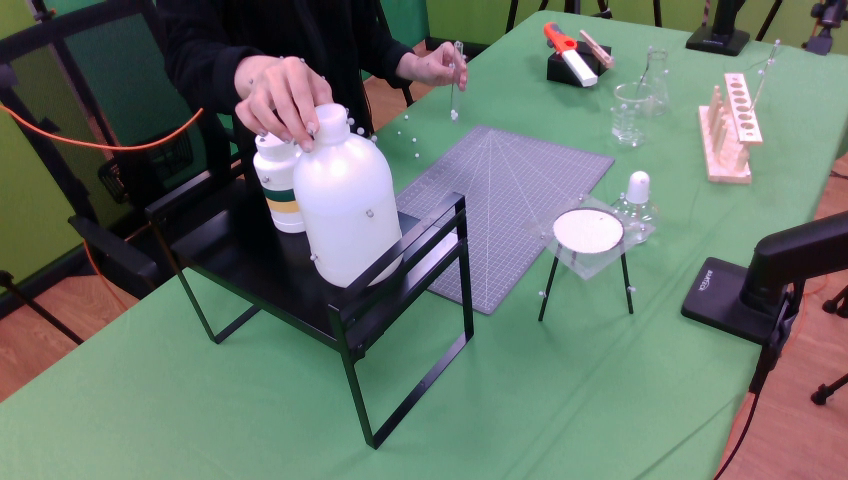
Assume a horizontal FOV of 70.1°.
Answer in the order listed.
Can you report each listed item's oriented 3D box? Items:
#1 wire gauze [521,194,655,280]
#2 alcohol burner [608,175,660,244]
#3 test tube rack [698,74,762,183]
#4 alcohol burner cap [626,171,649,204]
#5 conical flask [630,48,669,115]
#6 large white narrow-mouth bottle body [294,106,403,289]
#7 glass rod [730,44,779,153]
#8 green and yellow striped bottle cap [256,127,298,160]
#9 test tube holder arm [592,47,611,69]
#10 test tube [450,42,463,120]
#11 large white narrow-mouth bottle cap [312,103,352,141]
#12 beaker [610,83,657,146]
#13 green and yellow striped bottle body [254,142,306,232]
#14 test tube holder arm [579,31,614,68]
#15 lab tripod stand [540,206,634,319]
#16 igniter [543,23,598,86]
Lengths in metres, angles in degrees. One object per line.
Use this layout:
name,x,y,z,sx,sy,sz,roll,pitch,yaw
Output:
wire gauze,0.207,-0.012,0.772,0.122,0.011,0.124,-28,44,-20
alcohol burner,0.322,-0.053,0.924,0.078,0.119,0.077,-4,43,4
test tube rack,0.547,-0.208,1.095,0.066,0.085,0.242,5,42,15
alcohol burner cap,0.320,-0.081,0.900,0.034,0.048,0.033,-4,42,4
conical flask,0.456,-0.317,1.205,0.075,0.122,0.075,-4,41,4
large white narrow-mouth bottle body,-0.082,-0.047,0.633,0.102,0.195,0.101,-4,40,4
glass rod,0.555,-0.234,1.020,0.008,0.200,0.008,2,40,-1
green and yellow striped bottle cap,-0.170,-0.112,0.698,0.045,0.020,0.045,-5,40,5
test tube holder arm,0.386,-0.398,1.317,0.010,0.015,0.087,-10,41,-2
test tube,0.057,-0.277,1.065,0.017,0.151,0.017,1,46,0
large white narrow-mouth bottle cap,-0.088,-0.113,0.578,0.038,0.024,0.037,-3,40,3
beaker,0.388,-0.235,1.138,0.074,0.101,0.083,-31,45,-25
green and yellow striped bottle body,-0.165,-0.073,0.732,0.063,0.120,0.063,-4,41,4
test tube holder arm,0.384,-0.428,1.351,0.013,0.015,0.177,-11,41,-3
lab tripod stand,0.218,0.034,0.821,0.148,0.132,0.147,-4,42,4
igniter,0.320,-0.419,1.345,0.057,0.025,0.274,-12,44,-3
